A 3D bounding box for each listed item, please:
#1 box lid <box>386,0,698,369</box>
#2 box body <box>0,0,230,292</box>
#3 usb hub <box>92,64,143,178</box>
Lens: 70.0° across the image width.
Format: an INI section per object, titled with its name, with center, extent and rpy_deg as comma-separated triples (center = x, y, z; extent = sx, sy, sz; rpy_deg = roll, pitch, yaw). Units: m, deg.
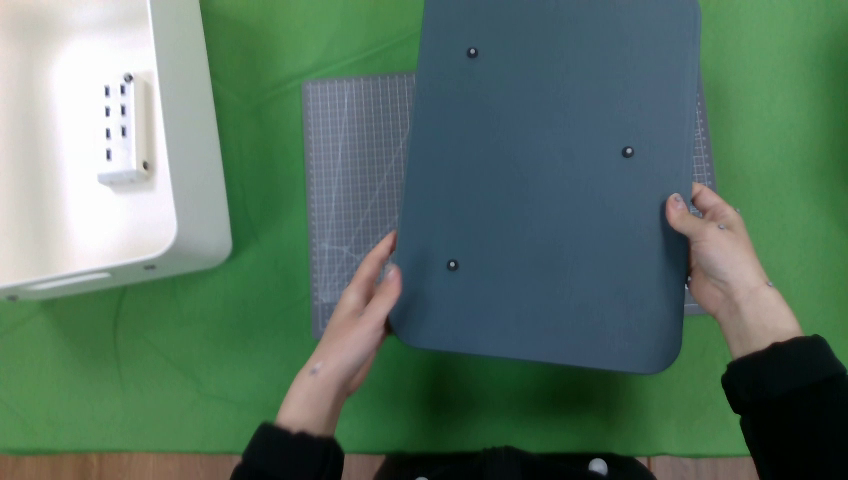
[box lid]
center = 0.111, -0.074, 0.562
extent = 0.263, 0.015, 0.370
rpy_deg = 6, 82, 4
[box body]
center = -0.362, -0.137, 0.624
extent = 0.254, 0.161, 0.363
rpy_deg = -11, 83, 1
[usb hub]
center = -0.346, -0.135, 0.684
extent = 0.049, 0.025, 0.124
rpy_deg = -5, 83, 3
